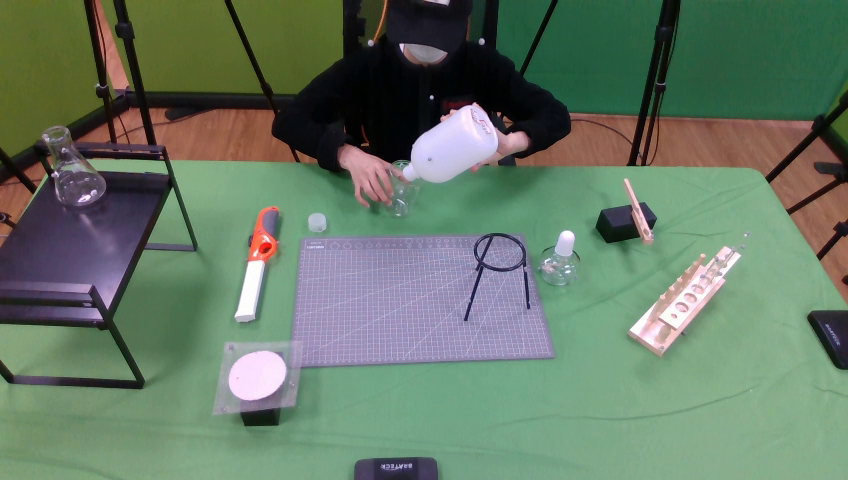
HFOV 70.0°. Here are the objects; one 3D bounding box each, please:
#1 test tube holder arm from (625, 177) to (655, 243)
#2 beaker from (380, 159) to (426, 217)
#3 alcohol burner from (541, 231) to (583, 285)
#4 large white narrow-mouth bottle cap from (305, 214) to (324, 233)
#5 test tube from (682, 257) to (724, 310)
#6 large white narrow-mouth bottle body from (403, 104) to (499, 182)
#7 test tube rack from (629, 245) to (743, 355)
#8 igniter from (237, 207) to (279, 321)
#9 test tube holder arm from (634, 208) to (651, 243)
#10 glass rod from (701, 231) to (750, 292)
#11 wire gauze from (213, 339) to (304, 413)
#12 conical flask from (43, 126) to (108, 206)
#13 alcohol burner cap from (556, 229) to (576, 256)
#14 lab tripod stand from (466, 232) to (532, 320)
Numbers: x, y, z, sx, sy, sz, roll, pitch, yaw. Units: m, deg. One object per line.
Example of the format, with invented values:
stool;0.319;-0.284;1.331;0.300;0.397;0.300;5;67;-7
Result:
test tube holder arm;0.433;-0.063;1.220;0.013;0.015;0.177;1;47;-3
beaker;-0.043;-0.103;1.232;0.084;0.100;0.073;5;48;-18
alcohol burner;0.258;0.028;1.123;0.078;0.120;0.077;1;48;-1
large white narrow-mouth bottle cap;-0.219;-0.033;1.214;0.038;0.024;0.037;2;46;-2
test tube;0.475;0.080;1.037;0.017;0.151;0.017;2;51;-2
large white narrow-mouth bottle body;0.039;-0.167;1.142;0.102;0.194;0.101;33;43;-36
test tube rack;0.474;0.095;1.091;0.242;0.085;0.066;-34;56;-31
igniter;-0.309;0.036;1.136;0.057;0.025;0.274;-7;45;5
test tube holder arm;0.428;-0.030;1.189;0.010;0.015;0.087;1;47;-2
glass rod;0.519;0.045;1.050;0.008;0.201;0.008;0;55;0
wire gauze;-0.250;0.203;0.924;0.121;0.011;0.124;-1;46;-3
conical flask;-0.555;-0.119;0.953;0.075;0.122;0.075;2;46;-2
alcohol burner cap;0.260;0.002;1.098;0.034;0.048;0.033;3;40;-2
lab tripod stand;0.125;0.059;1.065;0.148;0.132;0.147;1;45;0
